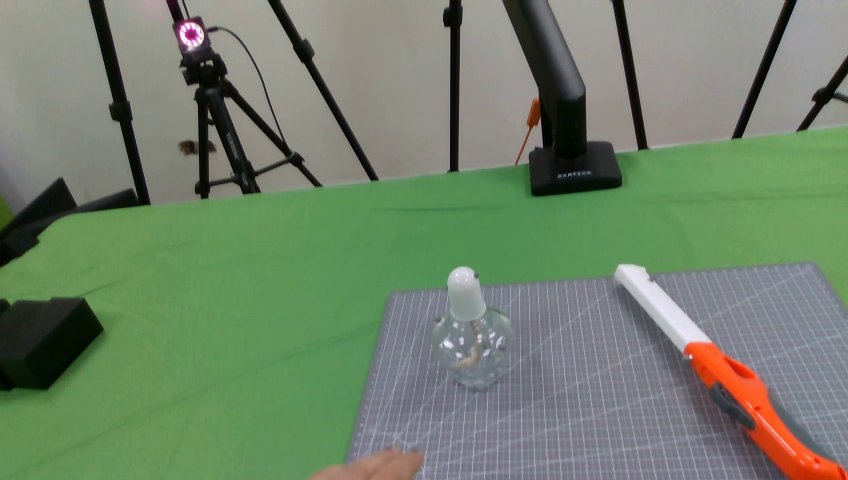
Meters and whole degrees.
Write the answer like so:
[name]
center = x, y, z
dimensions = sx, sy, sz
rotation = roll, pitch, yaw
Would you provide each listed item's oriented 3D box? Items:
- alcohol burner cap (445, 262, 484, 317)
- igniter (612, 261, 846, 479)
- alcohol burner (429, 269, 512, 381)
[alcohol burner cap]
center = 0.034, 0.040, 0.531
dimensions = 0.034, 0.048, 0.033
rotation = -7, 37, 6
[igniter]
center = 0.242, 0.096, 0.522
dimensions = 0.057, 0.025, 0.273
rotation = 4, 28, -16
[alcohol burner]
center = 0.041, 0.070, 0.551
dimensions = 0.078, 0.120, 0.077
rotation = -7, 35, 5
